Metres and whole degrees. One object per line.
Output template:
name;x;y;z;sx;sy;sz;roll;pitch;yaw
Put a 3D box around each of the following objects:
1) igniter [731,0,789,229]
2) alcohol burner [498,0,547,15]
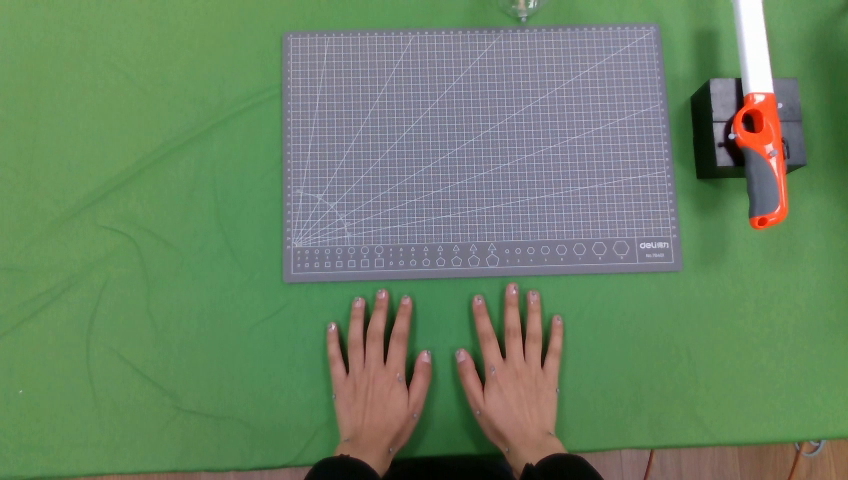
igniter;0.360;-0.146;0.656;0.057;0.025;0.275;2;78;0
alcohol burner;0.117;-0.306;0.678;0.078;0.119;0.077;0;82;-2
